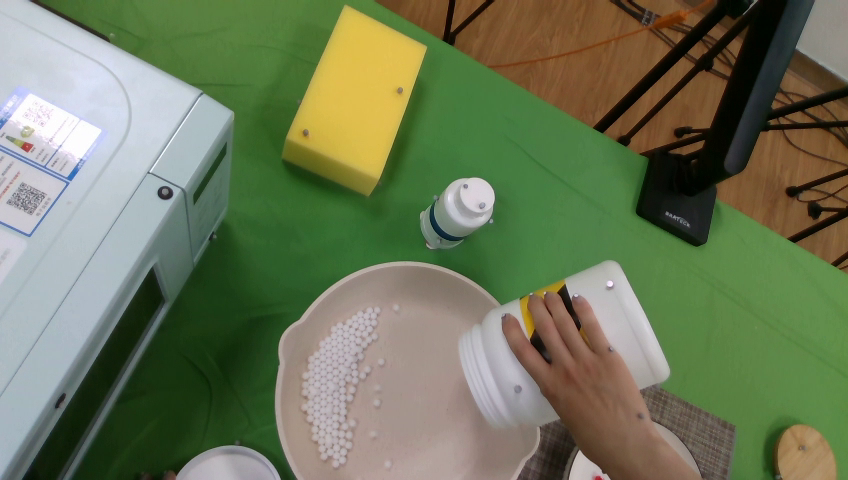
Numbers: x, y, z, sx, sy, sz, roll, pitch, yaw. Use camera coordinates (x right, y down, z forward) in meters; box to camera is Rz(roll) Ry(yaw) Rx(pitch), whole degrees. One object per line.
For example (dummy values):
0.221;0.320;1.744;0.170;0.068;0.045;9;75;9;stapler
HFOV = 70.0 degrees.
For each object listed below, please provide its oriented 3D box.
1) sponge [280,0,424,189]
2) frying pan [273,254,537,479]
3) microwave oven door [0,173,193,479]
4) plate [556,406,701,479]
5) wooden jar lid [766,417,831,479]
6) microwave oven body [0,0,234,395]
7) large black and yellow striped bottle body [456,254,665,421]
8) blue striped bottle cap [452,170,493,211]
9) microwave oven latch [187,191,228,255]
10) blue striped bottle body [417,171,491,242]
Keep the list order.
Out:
-0.088;-0.184;0.764;0.119;0.061;0.205;21;69;-12;sponge
-0.052;0.248;0.629;0.308;0.103;0.484;26;60;-9;frying pan
-0.292;0.133;0.482;0.039;0.244;0.354;27;67;-10;microwave oven door
0.252;0.315;0.754;0.210;0.038;0.208;6;73;-18;plate
0.536;0.310;0.871;0.109;0.021;0.108;5;74;-17;wooden jar lid
-0.406;0.032;0.475;0.327;0.260;0.439;27;68;-11;microwave oven body
0.137;0.107;0.631;0.184;0.131;0.130;-25;82;14;large black and yellow striped bottle body
0.055;-0.057;0.691;0.045;0.020;0.044;5;74;-18;blue striped bottle cap
-0.242;-0.025;0.656;0.030;0.029;0.079;30;68;-10;microwave oven latch
0.039;-0.042;0.737;0.063;0.121;0.062;5;73;-18;blue striped bottle body
